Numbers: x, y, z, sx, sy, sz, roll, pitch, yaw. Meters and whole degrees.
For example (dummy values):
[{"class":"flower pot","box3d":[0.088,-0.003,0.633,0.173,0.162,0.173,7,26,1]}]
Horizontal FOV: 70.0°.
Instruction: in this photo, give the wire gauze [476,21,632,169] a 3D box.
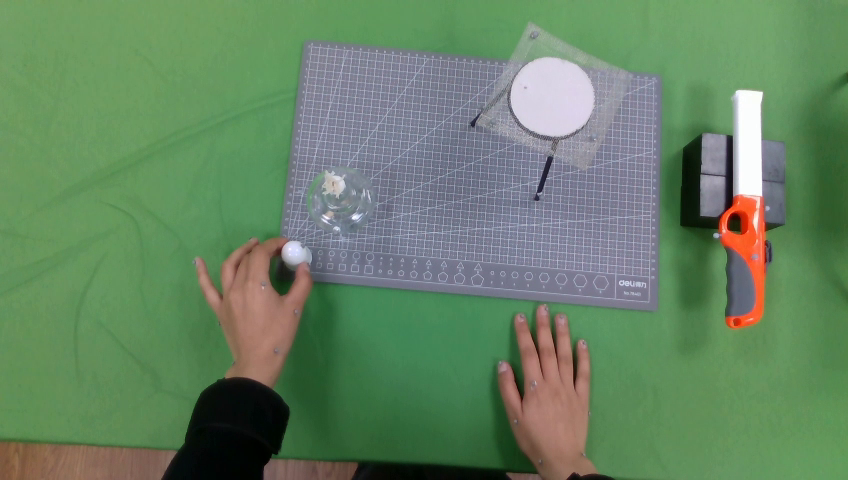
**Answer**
[{"class":"wire gauze","box3d":[0.133,-0.147,0.612,0.121,0.011,0.125,28,79,2]}]

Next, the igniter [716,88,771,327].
[{"class":"igniter","box3d":[0.359,-0.039,0.682,0.057,0.025,0.275,6,79,4]}]

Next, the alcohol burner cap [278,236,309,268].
[{"class":"alcohol burner cap","box3d":[-0.148,0.011,0.682,0.034,0.048,0.033,1,76,-5]}]

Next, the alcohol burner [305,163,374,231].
[{"class":"alcohol burner","box3d":[-0.093,-0.051,0.663,0.078,0.119,0.077,0,81,-3]}]

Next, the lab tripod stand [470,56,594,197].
[{"class":"lab tripod stand","box3d":[0.128,-0.137,0.679,0.148,0.132,0.147,1,78,-2]}]
